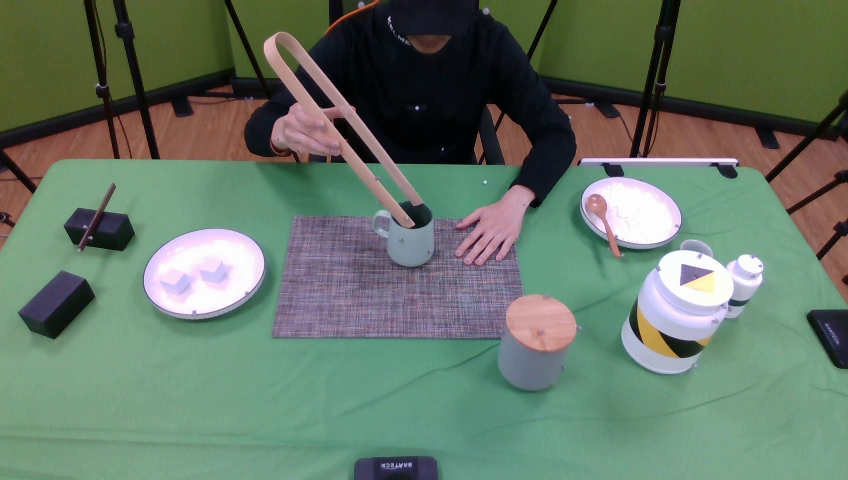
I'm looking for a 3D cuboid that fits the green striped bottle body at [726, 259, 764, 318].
[{"bbox_3d":[0.563,0.081,1.089,0.063,0.120,0.063,2,46,-2],"label":"green striped bottle body"}]

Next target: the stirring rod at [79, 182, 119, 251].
[{"bbox_3d":[-0.605,-0.046,1.131,0.006,0.014,0.175,0,46,2],"label":"stirring rod"}]

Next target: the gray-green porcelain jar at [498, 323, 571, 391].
[{"bbox_3d":[0.176,0.172,0.971,0.106,0.127,0.105,2,46,-2],"label":"gray-green porcelain jar"}]

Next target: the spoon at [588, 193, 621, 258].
[{"bbox_3d":[0.367,-0.032,1.220,0.041,0.022,0.192,1,38,-1],"label":"spoon"}]

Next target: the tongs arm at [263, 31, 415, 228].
[{"bbox_3d":[-0.128,-0.167,0.998,0.026,0.387,0.050,-16,38,36],"label":"tongs arm"}]

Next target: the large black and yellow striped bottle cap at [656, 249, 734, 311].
[{"bbox_3d":[0.419,0.061,0.938,0.115,0.019,0.114,2,47,-2],"label":"large black and yellow striped bottle cap"}]

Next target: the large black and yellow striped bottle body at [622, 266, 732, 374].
[{"bbox_3d":[0.415,0.119,0.997,0.131,0.185,0.130,2,46,-2],"label":"large black and yellow striped bottle body"}]

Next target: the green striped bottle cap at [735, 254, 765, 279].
[{"bbox_3d":[0.566,0.046,1.051,0.044,0.020,0.044,0,45,0],"label":"green striped bottle cap"}]

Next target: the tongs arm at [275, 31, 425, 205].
[{"bbox_3d":[-0.117,-0.194,1.025,0.027,0.390,0.028,-13,41,38],"label":"tongs arm"}]

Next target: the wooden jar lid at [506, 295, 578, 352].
[{"bbox_3d":[0.179,0.130,0.925,0.108,0.021,0.107,2,43,-2],"label":"wooden jar lid"}]

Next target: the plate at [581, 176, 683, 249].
[{"bbox_3d":[0.430,-0.054,1.267,0.209,0.038,0.208,2,46,-2],"label":"plate"}]

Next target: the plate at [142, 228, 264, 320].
[{"bbox_3d":[-0.394,0.064,1.095,0.208,0.039,0.206,2,46,-2],"label":"plate"}]

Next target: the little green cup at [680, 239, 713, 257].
[{"bbox_3d":[0.530,0.033,1.189,0.061,0.039,0.061,2,48,-2],"label":"little green cup"}]

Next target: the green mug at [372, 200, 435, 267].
[{"bbox_3d":[-0.040,-0.016,1.146,0.125,0.105,0.092,17,48,13],"label":"green mug"}]
